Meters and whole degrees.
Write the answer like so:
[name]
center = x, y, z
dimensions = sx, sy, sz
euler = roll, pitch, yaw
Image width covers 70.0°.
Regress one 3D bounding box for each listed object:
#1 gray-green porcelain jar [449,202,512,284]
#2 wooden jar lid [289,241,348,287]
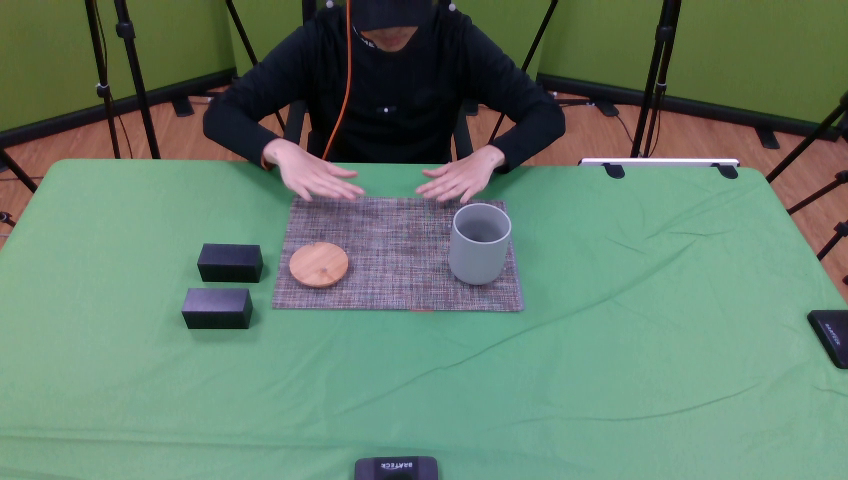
[gray-green porcelain jar]
center = 0.100, 0.010, 1.116
dimensions = 0.106, 0.127, 0.105
euler = 2, 47, -2
[wooden jar lid]
center = -0.197, 0.047, 1.133
dimensions = 0.108, 0.021, 0.107
euler = 3, 45, -2
